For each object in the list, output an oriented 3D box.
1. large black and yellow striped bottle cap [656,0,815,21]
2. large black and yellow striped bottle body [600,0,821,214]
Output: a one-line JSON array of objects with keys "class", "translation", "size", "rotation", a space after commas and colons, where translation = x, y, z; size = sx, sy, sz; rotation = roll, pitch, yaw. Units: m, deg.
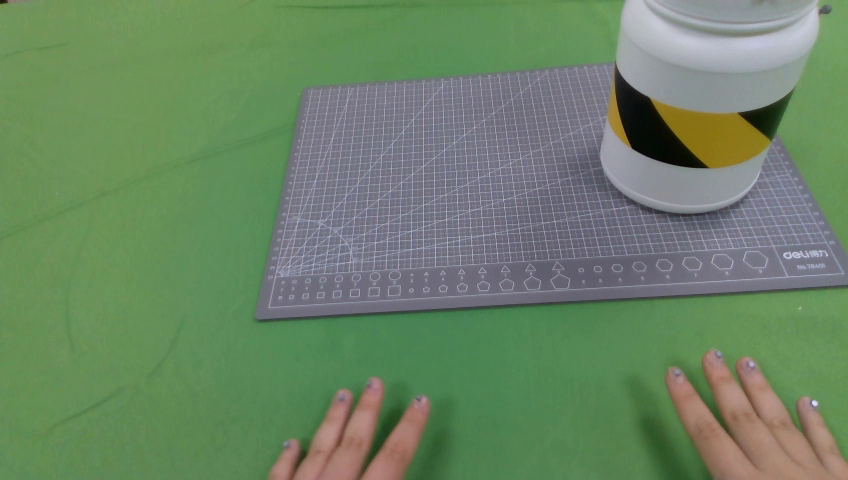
[{"class": "large black and yellow striped bottle cap", "translation": [0.200, -0.180, 0.397], "size": [0.115, 0.019, 0.114], "rotation": [-3, 49, 3]}, {"class": "large black and yellow striped bottle body", "translation": [0.210, -0.125, 0.460], "size": [0.131, 0.186, 0.129], "rotation": [-4, 49, 5]}]
